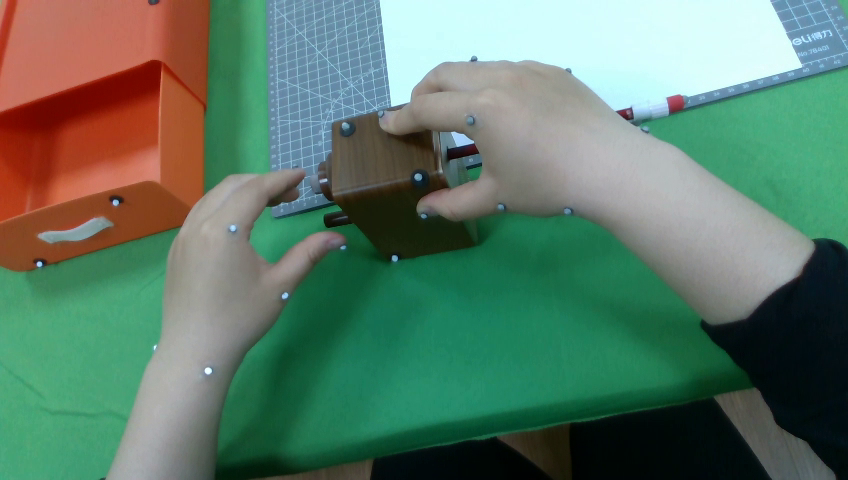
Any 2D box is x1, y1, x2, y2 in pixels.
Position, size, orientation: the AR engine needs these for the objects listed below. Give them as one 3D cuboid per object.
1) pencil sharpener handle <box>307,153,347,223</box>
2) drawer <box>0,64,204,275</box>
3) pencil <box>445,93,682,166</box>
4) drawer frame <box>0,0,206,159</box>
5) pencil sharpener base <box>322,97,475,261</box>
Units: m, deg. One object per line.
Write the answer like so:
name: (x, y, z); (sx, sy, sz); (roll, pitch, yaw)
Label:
pencil sharpener handle: (-0.067, -0.030, 0.411); (0.030, 0.068, 0.035); (-12, 64, 13)
drawer: (-0.299, -0.092, 0.541); (0.194, 0.074, 0.210); (-16, 63, 11)
pencil: (0.056, -0.060, 0.368); (0.194, 0.012, 0.012); (-13, 64, 10)
drawer frame: (-0.318, -0.197, 0.590); (0.201, 0.083, 0.211); (-15, 63, 11)
pencil sharpener base: (-0.014, -0.035, 0.411); (0.076, 0.108, 0.061); (-12, 64, 13)
